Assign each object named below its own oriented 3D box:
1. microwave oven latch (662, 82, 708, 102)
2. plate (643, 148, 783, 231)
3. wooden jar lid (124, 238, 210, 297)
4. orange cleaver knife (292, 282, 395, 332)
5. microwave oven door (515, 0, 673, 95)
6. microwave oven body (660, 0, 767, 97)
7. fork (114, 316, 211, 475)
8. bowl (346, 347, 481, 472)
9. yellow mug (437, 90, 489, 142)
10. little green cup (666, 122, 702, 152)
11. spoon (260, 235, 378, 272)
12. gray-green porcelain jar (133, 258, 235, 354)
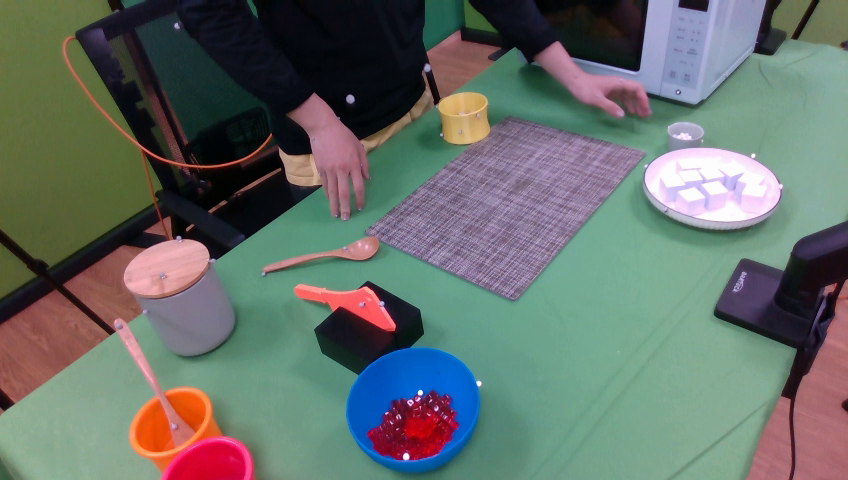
[{"bbox_3d":[0.518,-0.298,1.202,0.078,0.029,0.030,28,53,35],"label":"microwave oven latch"},{"bbox_3d":[0.464,-0.080,0.986,0.207,0.039,0.206,-4,41,4],"label":"plate"},{"bbox_3d":[-0.335,0.039,0.794,0.108,0.021,0.108,-2,40,3],"label":"wooden jar lid"},{"bbox_3d":[-0.116,0.091,0.835,0.209,0.077,0.012,2,32,48],"label":"orange cleaver knife"},{"bbox_3d":[0.344,-0.458,1.256,0.353,0.245,0.039,26,51,33],"label":"microwave oven door"},{"bbox_3d":[0.473,-0.516,1.313,0.438,0.261,0.327,26,51,34],"label":"microwave oven body"},{"bbox_3d":[-0.309,0.180,0.708,0.028,0.018,0.207,-29,89,-25],"label":"fork"},{"bbox_3d":[-0.008,0.205,0.691,0.151,0.077,0.150,-4,40,4],"label":"bowl"},{"bbox_3d":[0.069,-0.257,1.224,0.100,0.064,0.129,-33,44,-26],"label":"yellow mug"},{"bbox_3d":[0.471,-0.184,1.102,0.061,0.039,0.061,-5,41,5],"label":"little green cup"},{"bbox_3d":[-0.168,0.024,0.966,0.194,0.022,0.041,-10,57,-3],"label":"spoon"},{"bbox_3d":[-0.328,0.086,0.836,0.106,0.127,0.105,-4,41,4],"label":"gray-green porcelain jar"}]
